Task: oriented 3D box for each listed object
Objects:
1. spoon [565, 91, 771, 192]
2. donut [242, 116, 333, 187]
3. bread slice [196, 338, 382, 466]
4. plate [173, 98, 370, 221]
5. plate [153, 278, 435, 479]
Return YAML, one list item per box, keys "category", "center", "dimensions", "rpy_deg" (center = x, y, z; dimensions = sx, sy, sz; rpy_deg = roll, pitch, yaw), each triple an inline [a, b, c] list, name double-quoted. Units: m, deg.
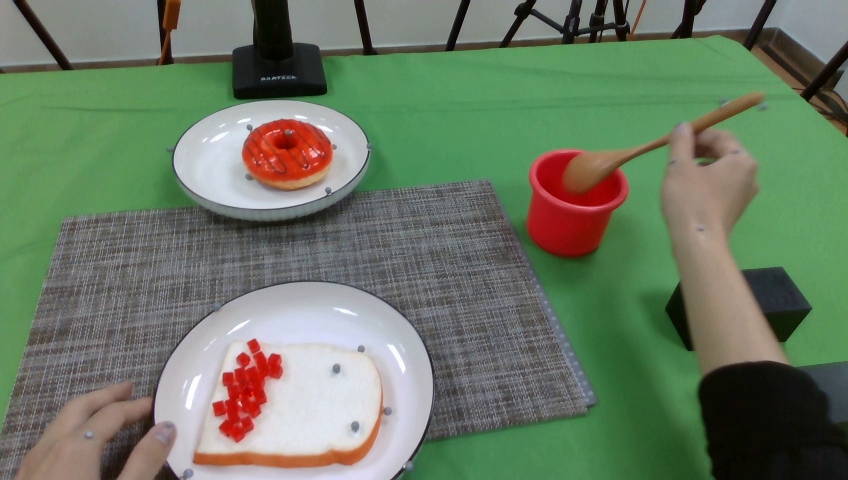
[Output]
- category: "spoon"
  center: [0.213, -0.091, 0.554]
  dimensions: [0.193, 0.022, 0.041]
  rpy_deg: [-21, 62, 34]
- category: "donut"
  center: [-0.149, -0.097, 0.663]
  dimensions: [0.099, 0.048, 0.098]
  rpy_deg: [4, 46, -3]
- category: "bread slice"
  center: [-0.098, 0.122, 0.469]
  dimensions: [0.131, 0.019, 0.104]
  rpy_deg: [2, 46, -1]
- category: "plate"
  center: [-0.164, -0.087, 0.669]
  dimensions: [0.208, 0.039, 0.205]
  rpy_deg: [3, 43, -2]
- category: "plate"
  center: [-0.096, 0.118, 0.470]
  dimensions: [0.209, 0.038, 0.207]
  rpy_deg: [3, 45, -2]
